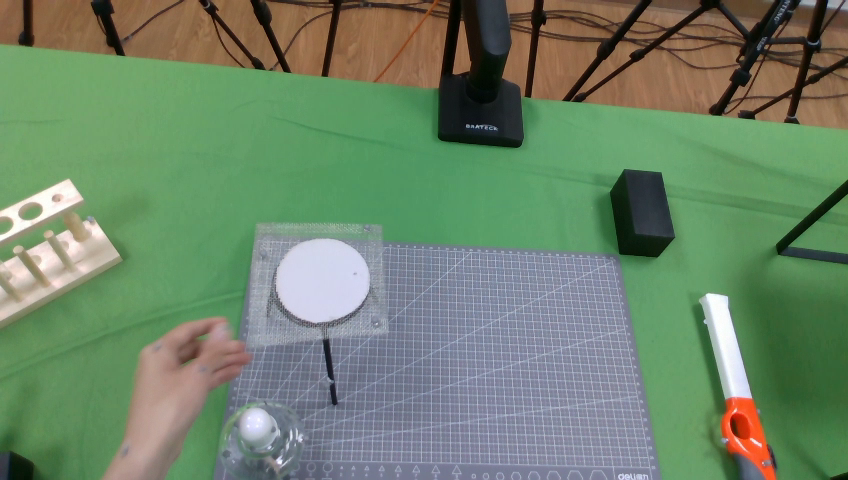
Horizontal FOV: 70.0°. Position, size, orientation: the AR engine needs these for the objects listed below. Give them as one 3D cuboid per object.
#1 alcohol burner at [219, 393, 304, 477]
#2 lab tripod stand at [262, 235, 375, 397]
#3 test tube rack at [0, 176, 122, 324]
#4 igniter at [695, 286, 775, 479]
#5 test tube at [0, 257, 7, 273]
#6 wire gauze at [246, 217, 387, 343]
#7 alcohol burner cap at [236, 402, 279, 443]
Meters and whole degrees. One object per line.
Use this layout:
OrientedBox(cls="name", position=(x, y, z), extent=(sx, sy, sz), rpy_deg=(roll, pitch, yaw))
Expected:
OrientedBox(cls="alcohol burner", position=(-0.150, 0.174, 0.555), extent=(0.078, 0.120, 0.077), rpy_deg=(5, 57, -7))
OrientedBox(cls="lab tripod stand", position=(-0.102, 0.070, 0.612), extent=(0.149, 0.132, 0.147), rpy_deg=(4, 60, -7))
OrientedBox(cls="test tube rack", position=(-0.452, 0.037, 0.617), extent=(0.242, 0.086, 0.066), rpy_deg=(-34, 69, -24))
OrientedBox(cls="igniter", position=(0.345, 0.178, 0.671), extent=(0.057, 0.025, 0.274), rpy_deg=(9, 58, -14))
OrientedBox(cls="test tube", position=(-0.444, -0.011, 0.589), extent=(0.017, 0.151, 0.017), rpy_deg=(4, 54, -5))
OrientedBox(cls="wire gauze", position=(-0.098, 0.032, 0.556), extent=(0.122, 0.011, 0.124), rpy_deg=(-1, 61, -9))
OrientedBox(cls="alcohol burner cap", position=(-0.145, 0.157, 0.524), extent=(0.034, 0.048, 0.033), rpy_deg=(2, 65, -4))
